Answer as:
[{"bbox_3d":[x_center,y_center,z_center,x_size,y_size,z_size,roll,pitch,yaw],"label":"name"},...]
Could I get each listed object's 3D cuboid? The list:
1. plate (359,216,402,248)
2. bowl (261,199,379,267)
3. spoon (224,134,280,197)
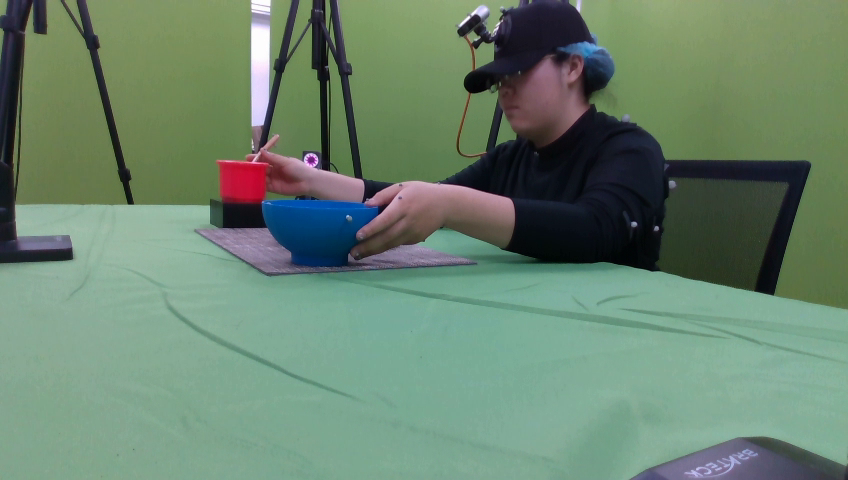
[{"bbox_3d":[-0.140,-0.015,0.993,0.208,0.039,0.207,3,8,0],"label":"plate"},{"bbox_3d":[-0.135,-0.009,0.786,0.151,0.077,0.151,3,7,0],"label":"bowl"},{"bbox_3d":[-0.333,-0.149,1.192,0.041,0.022,0.194,6,52,24],"label":"spoon"}]
